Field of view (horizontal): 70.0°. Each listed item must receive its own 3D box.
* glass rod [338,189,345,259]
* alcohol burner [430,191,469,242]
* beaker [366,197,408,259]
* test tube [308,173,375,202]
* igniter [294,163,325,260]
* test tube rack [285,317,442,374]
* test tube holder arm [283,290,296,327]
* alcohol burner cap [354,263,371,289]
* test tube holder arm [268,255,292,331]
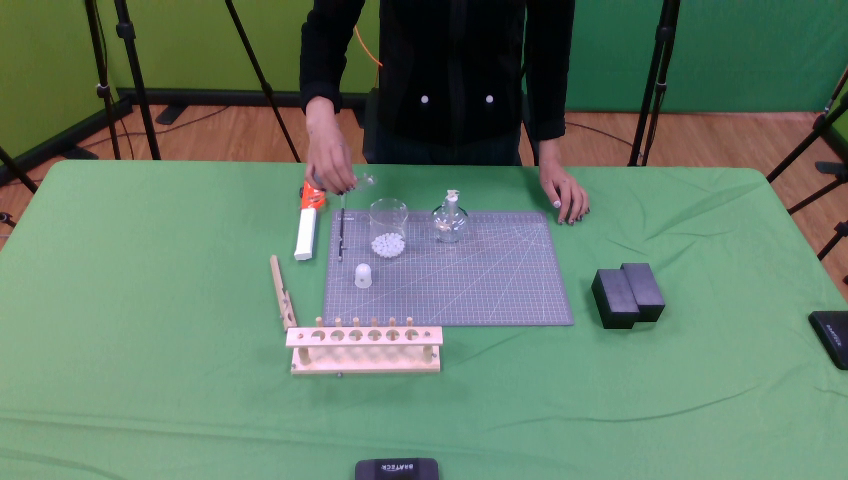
[{"bbox_3d":[-0.166,-0.037,1.227,0.008,0.008,0.198,0,47,-4],"label":"glass rod"},{"bbox_3d":[0.051,-0.053,1.185,0.078,0.119,0.077,2,48,-2],"label":"alcohol burner"},{"bbox_3d":[-0.068,-0.018,1.153,0.074,0.101,0.083,-26,54,-25],"label":"beaker"},{"bbox_3d":[-0.145,-0.089,1.043,0.150,0.017,0.017,-14,36,34],"label":"test tube"},{"bbox_3d":[-0.234,-0.067,1.243,0.057,0.025,0.274,-6,46,4],"label":"igniter"},{"bbox_3d":[-0.095,0.166,0.988,0.242,0.085,0.066,0,46,-4],"label":"test tube rack"},{"bbox_3d":[-0.240,0.123,1.067,0.010,0.015,0.087,15,35,-37],"label":"test tube holder arm"},{"bbox_3d":[-0.113,0.063,1.111,0.034,0.048,0.033,2,46,-2],"label":"alcohol burner cap"},{"bbox_3d":[-0.260,0.091,1.092,0.013,0.015,0.177,14,35,-38],"label":"test tube holder arm"}]
